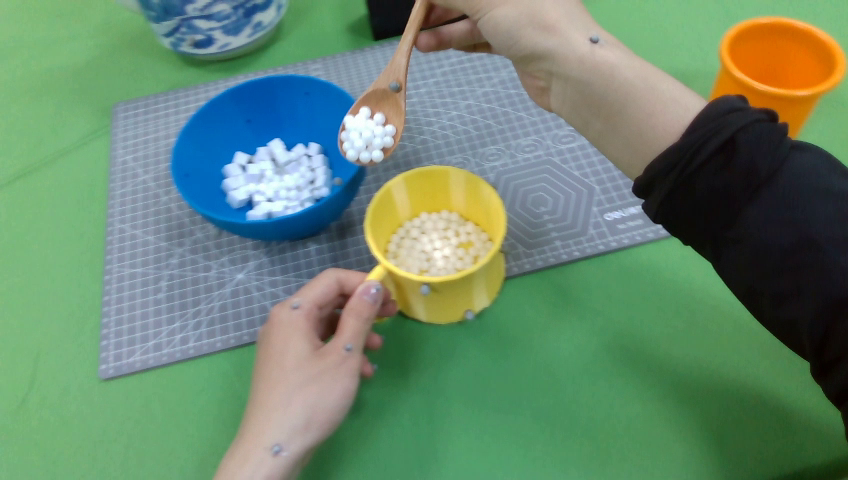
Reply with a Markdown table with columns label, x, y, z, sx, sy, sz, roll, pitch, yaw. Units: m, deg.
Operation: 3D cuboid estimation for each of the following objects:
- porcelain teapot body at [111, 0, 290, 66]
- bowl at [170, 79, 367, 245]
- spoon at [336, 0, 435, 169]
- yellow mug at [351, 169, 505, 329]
| label | x | y | z | sx | sy | sz | roll | pitch | yaw |
| --- | --- | --- | --- | --- | --- | --- | --- | --- | --- |
| porcelain teapot body | -0.252 | -0.285 | 0.571 | 0.205 | 0.227 | 0.143 | -9 | 57 | 0 |
| bowl | -0.112 | -0.049 | 0.486 | 0.151 | 0.077 | 0.150 | -2 | 56 | 4 |
| spoon | -0.005 | -0.135 | 0.391 | 0.041 | 0.022 | 0.194 | 27 | 98 | 14 |
| yellow mug | -0.002 | 0.016 | 0.440 | 0.099 | 0.064 | 0.130 | 38 | 68 | 26 |
